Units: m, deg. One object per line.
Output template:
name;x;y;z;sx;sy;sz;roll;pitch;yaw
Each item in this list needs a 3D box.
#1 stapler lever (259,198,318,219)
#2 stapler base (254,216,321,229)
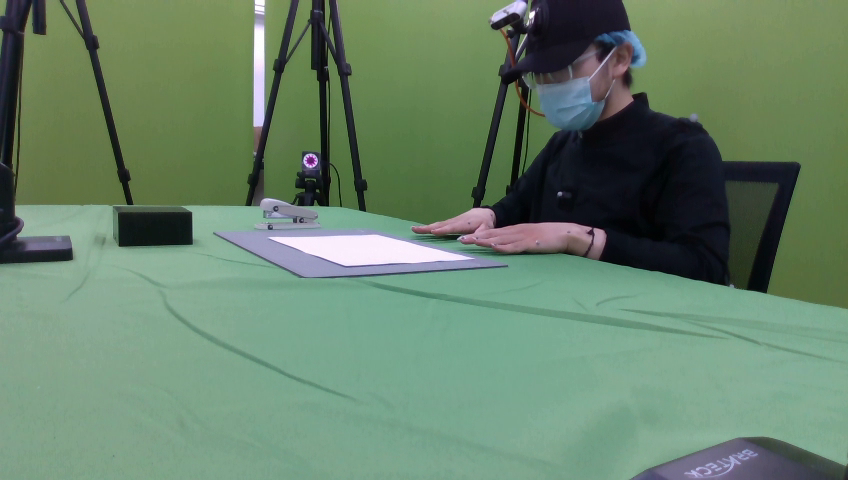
stapler lever;-0.267;-0.061;1.195;0.119;0.040;0.026;-1;11;-40
stapler base;-0.269;-0.036;1.197;0.131;0.024;0.041;-1;11;-40
